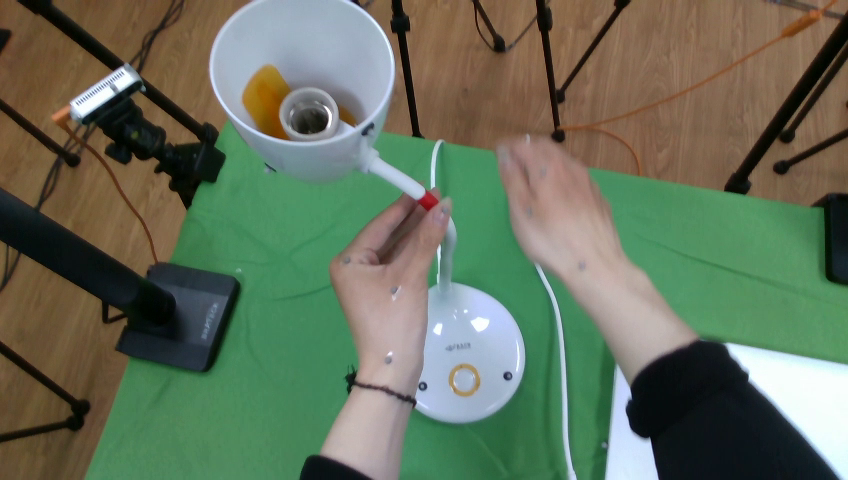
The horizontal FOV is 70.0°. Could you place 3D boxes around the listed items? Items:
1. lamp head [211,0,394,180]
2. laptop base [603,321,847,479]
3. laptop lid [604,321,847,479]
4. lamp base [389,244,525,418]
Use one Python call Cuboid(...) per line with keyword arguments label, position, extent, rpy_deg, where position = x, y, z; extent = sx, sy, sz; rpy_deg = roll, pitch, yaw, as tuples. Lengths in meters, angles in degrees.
Cuboid(label="lamp head", position=(-0.074, -0.091, 0.421), extent=(0.112, 0.123, 0.111), rpy_deg=(0, 69, -1))
Cuboid(label="laptop base", position=(0.380, 0.234, 0.671), extent=(0.354, 0.023, 0.234), rpy_deg=(10, 72, 5))
Cuboid(label="laptop lid", position=(0.379, 0.231, 0.659), extent=(0.356, 0.013, 0.240), rpy_deg=(12, 71, 6))
Cuboid(label="lamp base", position=(0.032, 0.088, 0.646), extent=(0.161, 0.181, 0.177), rpy_deg=(-18, 67, -5))
